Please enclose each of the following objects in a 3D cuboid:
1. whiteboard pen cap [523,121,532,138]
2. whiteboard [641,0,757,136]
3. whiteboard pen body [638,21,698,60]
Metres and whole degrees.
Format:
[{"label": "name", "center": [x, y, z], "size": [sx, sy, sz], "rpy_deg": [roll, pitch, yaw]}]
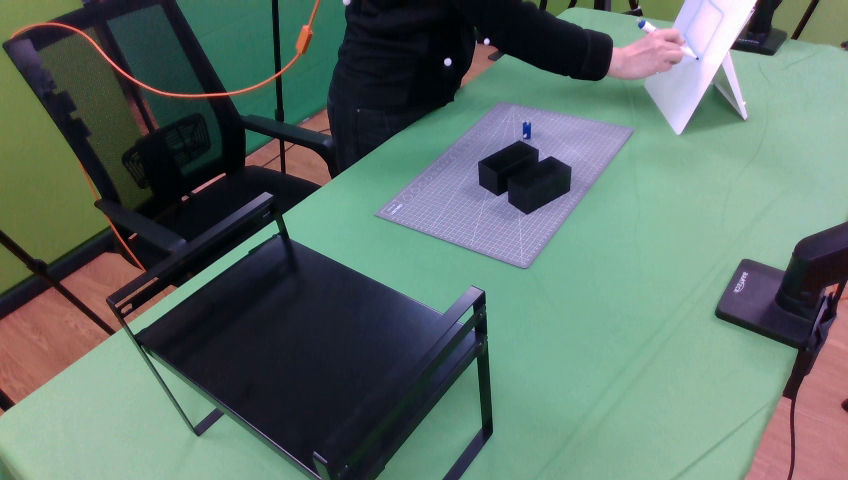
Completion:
[{"label": "whiteboard pen cap", "center": [0.204, -0.216, 1.185], "size": [0.018, 0.033, 0.018], "rpy_deg": [-6, 41, 6]}, {"label": "whiteboard", "center": [0.576, -0.367, 1.147], "size": [0.144, 0.306, 0.216], "rpy_deg": [9, 39, -9]}, {"label": "whiteboard pen body", "center": [0.446, -0.359, 1.096], "size": [0.141, 0.017, 0.017], "rpy_deg": [22, 37, -18]}]
